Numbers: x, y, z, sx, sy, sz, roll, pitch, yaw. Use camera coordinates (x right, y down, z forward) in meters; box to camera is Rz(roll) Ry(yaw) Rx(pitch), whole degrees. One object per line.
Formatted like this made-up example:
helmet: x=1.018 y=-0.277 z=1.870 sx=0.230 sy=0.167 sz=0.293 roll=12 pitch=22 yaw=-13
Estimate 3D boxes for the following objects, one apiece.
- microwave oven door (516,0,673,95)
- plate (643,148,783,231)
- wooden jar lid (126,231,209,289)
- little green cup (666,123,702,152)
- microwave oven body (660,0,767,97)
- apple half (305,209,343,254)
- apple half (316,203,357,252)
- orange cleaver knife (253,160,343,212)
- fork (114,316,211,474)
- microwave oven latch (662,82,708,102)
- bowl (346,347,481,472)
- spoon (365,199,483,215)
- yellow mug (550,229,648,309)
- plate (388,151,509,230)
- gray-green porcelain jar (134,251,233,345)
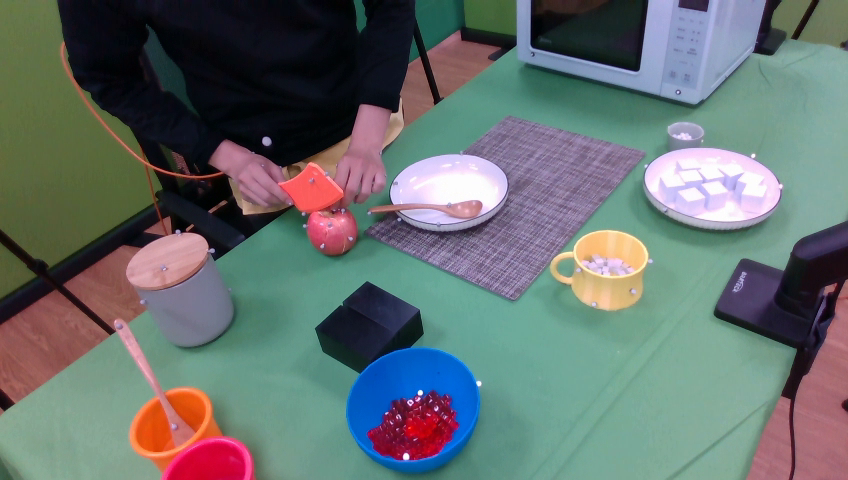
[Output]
microwave oven door: x=0.344 y=-0.458 z=1.256 sx=0.353 sy=0.245 sz=0.039 roll=26 pitch=51 yaw=33
plate: x=0.464 y=-0.079 z=0.986 sx=0.207 sy=0.039 sz=0.206 roll=-4 pitch=40 yaw=4
wooden jar lid: x=-0.340 y=0.030 z=0.808 sx=0.108 sy=0.021 sz=0.108 roll=-5 pitch=39 yaw=5
little green cup: x=0.472 y=-0.183 z=1.103 sx=0.061 sy=0.039 sz=0.061 roll=-6 pitch=41 yaw=5
microwave oven body: x=0.473 y=-0.516 z=1.314 sx=0.438 sy=0.261 sz=0.327 roll=26 pitch=51 yaw=34
apple half: x=-0.164 y=-0.006 z=0.955 sx=0.080 sy=0.081 sz=0.033 roll=23 pitch=40 yaw=30
apple half: x=-0.140 y=-0.025 z=0.981 sx=0.080 sy=0.075 sz=0.053 roll=20 pitch=42 yaw=35
orange cleaver knife: x=-0.201 y=-0.076 z=0.951 sx=0.210 sy=0.077 sz=0.012 roll=-10 pitch=33 yaw=47
fork: x=-0.308 y=0.179 z=0.708 sx=0.028 sy=0.018 sz=0.207 roll=-30 pitch=89 yaw=-23
microwave oven latch: x=0.517 y=-0.298 z=1.203 sx=0.078 sy=0.029 sz=0.030 roll=28 pitch=52 yaw=35
bowl: x=-0.008 y=0.205 z=0.691 sx=0.151 sy=0.077 sz=0.150 roll=-4 pitch=40 yaw=4
spoon: x=0.001 y=-0.056 z=0.997 sx=0.194 sy=0.022 sz=0.041 roll=1 pitch=40 yaw=-8
yellow mug: x=0.245 y=0.040 z=0.857 sx=0.130 sy=0.064 sz=0.099 roll=1 pitch=42 yaw=11
plate: x=0.044 y=-0.082 z=1.042 sx=0.209 sy=0.038 sz=0.208 roll=-4 pitch=40 yaw=4
gray-green porcelain jar: x=-0.334 y=0.076 z=0.849 sx=0.106 sy=0.127 sz=0.105 roll=-4 pitch=41 yaw=4
